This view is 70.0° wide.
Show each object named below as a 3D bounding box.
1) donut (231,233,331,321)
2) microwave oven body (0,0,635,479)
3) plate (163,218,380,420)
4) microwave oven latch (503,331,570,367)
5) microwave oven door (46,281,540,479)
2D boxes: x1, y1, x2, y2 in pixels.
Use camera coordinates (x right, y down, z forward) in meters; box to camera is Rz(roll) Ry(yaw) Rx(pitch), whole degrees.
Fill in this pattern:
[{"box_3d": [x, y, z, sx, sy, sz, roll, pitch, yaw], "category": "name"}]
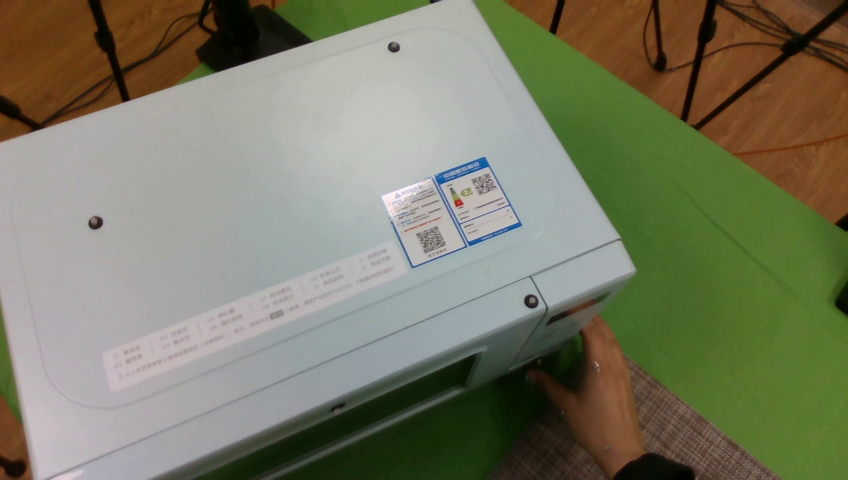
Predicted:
[{"box_3d": [-0.144, 0.037, 0.613, 0.099, 0.048, 0.098, 7, 54, -9], "category": "donut"}, {"box_3d": [-0.104, 0.007, 0.578, 0.442, 0.262, 0.323, -22, 70, -10], "category": "microwave oven body"}, {"box_3d": [-0.145, 0.075, 0.595, 0.209, 0.038, 0.207, -1, 61, 2], "category": "plate"}, {"box_3d": [0.116, 0.107, 0.649, 0.079, 0.030, 0.030, -22, 70, -10], "category": "microwave oven latch"}, {"box_3d": [-0.084, 0.144, 0.516, 0.356, 0.245, 0.039, -22, 69, -11], "category": "microwave oven door"}]
